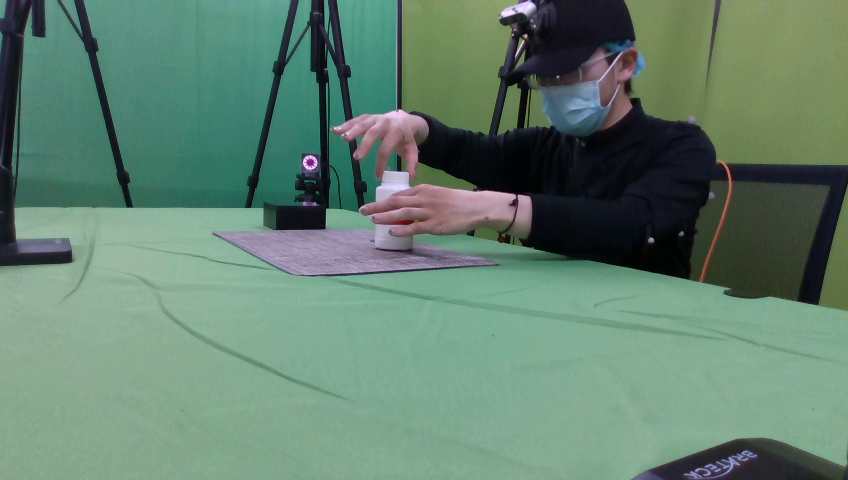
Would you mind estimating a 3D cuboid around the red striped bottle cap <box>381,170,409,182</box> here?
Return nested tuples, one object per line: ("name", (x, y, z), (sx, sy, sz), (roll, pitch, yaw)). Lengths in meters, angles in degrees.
("red striped bottle cap", (-0.045, -0.102, 0.953), (0.044, 0.017, 0.044), (3, 9, 0))

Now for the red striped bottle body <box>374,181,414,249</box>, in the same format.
("red striped bottle body", (-0.047, -0.048, 0.959), (0.063, 0.119, 0.063), (1, 5, 0))
